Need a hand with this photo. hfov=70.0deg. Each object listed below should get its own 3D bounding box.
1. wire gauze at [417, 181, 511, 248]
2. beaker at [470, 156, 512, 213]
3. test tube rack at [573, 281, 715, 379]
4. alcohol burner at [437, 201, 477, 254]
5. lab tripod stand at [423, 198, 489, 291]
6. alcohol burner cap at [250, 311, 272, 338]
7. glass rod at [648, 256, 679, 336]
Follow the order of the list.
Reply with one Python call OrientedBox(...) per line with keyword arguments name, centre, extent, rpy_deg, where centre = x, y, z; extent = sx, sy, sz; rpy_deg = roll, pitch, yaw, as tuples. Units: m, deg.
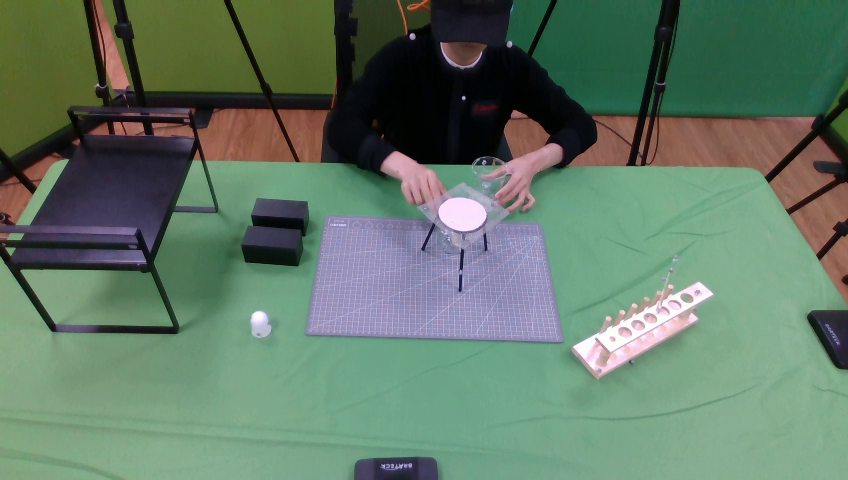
OrientedBox(name="wire gauze", centre=(0.071, -0.051, 1.073), extent=(0.121, 0.011, 0.124), rpy_deg=(-32, 55, -29))
OrientedBox(name="beaker", centre=(0.136, -0.113, 1.260), extent=(0.084, 0.101, 0.073), rpy_deg=(-2, 46, -5))
OrientedBox(name="test tube rack", centre=(0.378, 0.140, 1.038), extent=(0.242, 0.085, 0.066), rpy_deg=(-22, 51, -22))
OrientedBox(name="alcohol burner", centre=(0.064, -0.030, 1.160), extent=(0.078, 0.120, 0.077), rpy_deg=(1, 45, -1))
OrientedBox(name="lab tripod stand", centre=(0.064, -0.002, 1.119), extent=(0.148, 0.132, 0.147), rpy_deg=(1, 47, 0))
OrientedBox(name="alcohol burner cap", centre=(-0.278, 0.141, 1.026), extent=(0.034, 0.048, 0.033), rpy_deg=(1, 46, -1))
OrientedBox(name="glass rod", centre=(0.390, 0.095, 0.990), extent=(0.008, 0.201, 0.008), rpy_deg=(-2, 45, 2))
